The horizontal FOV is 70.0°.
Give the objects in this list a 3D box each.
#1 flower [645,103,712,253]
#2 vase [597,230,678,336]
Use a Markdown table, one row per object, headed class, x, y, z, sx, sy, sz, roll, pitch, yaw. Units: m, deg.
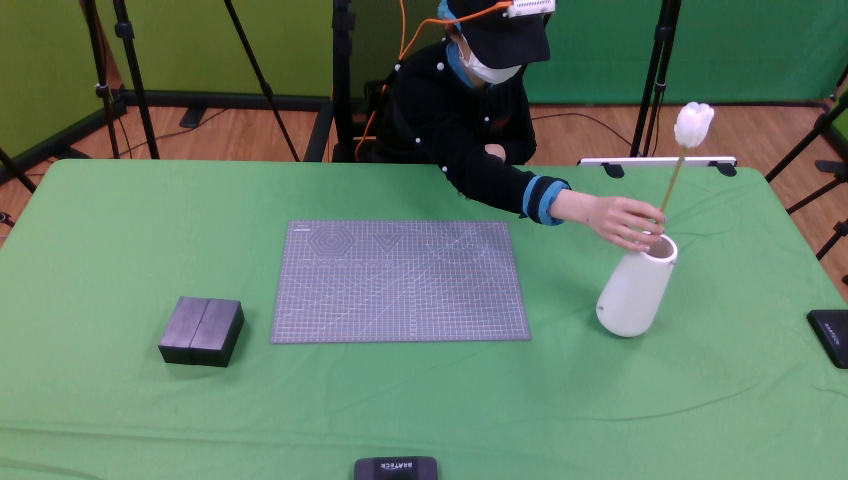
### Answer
| class | x | y | z | sx | sy | sz | roll | pitch | yaw |
| --- | --- | --- | --- | --- | --- | --- | --- | --- | --- |
| flower | 0.356 | -0.043 | 0.912 | 0.044 | 0.363 | 0.038 | -9 | 44 | -9 |
| vase | 0.360 | 0.077 | 1.026 | 0.098 | 0.201 | 0.097 | 1 | 47 | -1 |
